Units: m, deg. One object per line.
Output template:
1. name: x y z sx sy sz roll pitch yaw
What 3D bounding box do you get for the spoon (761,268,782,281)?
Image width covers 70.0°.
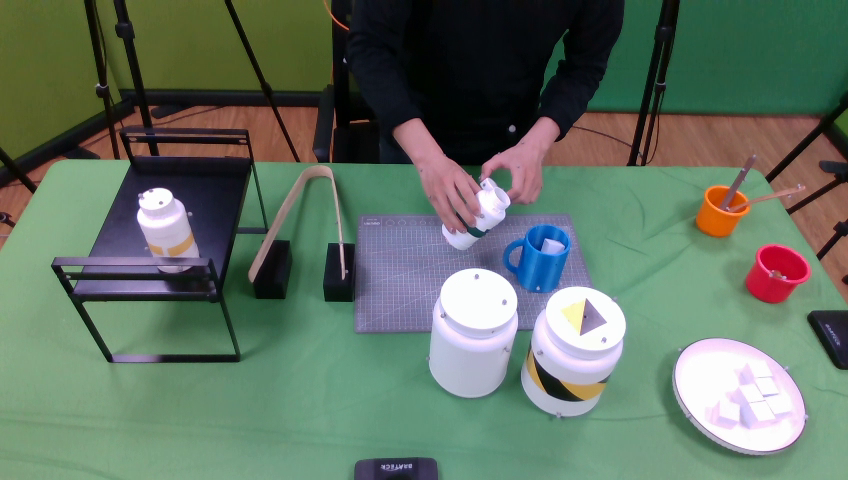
1. spoon: 0.638 0.060 1.105 0.041 0.021 0.194 38 11 24

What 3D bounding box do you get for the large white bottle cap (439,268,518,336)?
1. large white bottle cap: 0.080 0.089 0.888 0.115 0.018 0.114 2 47 -2

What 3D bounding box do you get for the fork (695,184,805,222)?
1. fork: 0.657 -0.075 1.230 0.207 0.019 0.028 -23 34 37

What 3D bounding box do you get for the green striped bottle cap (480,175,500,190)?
1. green striped bottle cap: 0.120 -0.095 1.094 0.044 0.020 0.044 42 20 -19

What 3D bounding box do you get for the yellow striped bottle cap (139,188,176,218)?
1. yellow striped bottle cap: -0.363 -0.051 0.827 0.044 0.019 0.044 1 47 -1

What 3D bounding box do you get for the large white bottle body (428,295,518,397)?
1. large white bottle body: 0.075 0.147 0.950 0.131 0.185 0.130 2 47 -2

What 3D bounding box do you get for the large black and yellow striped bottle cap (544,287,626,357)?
1. large black and yellow striped bottle cap: 0.232 0.116 0.876 0.115 0.019 0.114 1 45 -1

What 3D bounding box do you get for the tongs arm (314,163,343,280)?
1. tongs arm: -0.188 -0.049 1.170 0.051 0.026 0.382 -6 35 -6

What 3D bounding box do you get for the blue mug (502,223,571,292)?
1. blue mug: 0.203 0.031 1.121 0.116 0.106 0.082 5 47 1

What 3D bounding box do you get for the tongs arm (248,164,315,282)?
1. tongs arm: -0.269 -0.047 1.166 0.028 0.028 0.385 -1 34 7

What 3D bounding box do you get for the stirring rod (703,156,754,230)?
1. stirring rod: 0.631 -0.098 1.258 0.014 0.006 0.176 33 95 29

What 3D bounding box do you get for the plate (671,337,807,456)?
1. plate: 0.503 0.254 0.984 0.208 0.039 0.206 2 46 -2

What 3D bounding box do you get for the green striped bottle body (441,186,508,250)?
1. green striped bottle body: 0.088 -0.040 1.023 0.063 0.119 0.063 30 36 -24

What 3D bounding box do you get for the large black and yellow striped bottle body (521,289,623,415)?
1. large black and yellow striped bottle body: 0.228 0.173 0.937 0.131 0.185 0.130 2 47 -2

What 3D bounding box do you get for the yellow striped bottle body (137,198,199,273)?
1. yellow striped bottle body: -0.366 -0.014 0.864 0.063 0.121 0.062 2 46 -2
